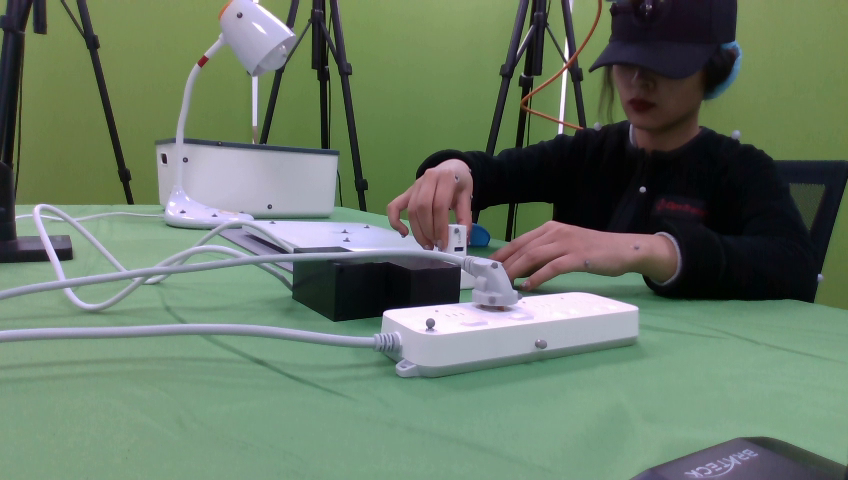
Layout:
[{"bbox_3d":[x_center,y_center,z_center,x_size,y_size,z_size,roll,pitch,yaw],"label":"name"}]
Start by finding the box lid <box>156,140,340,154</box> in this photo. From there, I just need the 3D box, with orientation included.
[{"bbox_3d":[-0.409,-0.213,1.404,0.373,0.015,0.262,-2,8,-32],"label":"box lid"}]

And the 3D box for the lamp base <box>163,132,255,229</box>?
[{"bbox_3d":[-0.420,-0.116,1.156,0.179,0.180,0.160,0,7,0],"label":"lamp base"}]

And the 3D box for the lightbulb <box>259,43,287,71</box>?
[{"bbox_3d":[-0.295,-0.357,1.102,0.059,0.107,0.059,-38,1,1],"label":"lightbulb"}]

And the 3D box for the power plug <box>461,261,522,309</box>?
[{"bbox_3d":[0.043,0.043,0.444,0.035,0.052,0.073,-5,8,43],"label":"power plug"}]

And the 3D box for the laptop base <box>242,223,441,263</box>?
[{"bbox_3d":[-0.126,0.003,0.945,0.237,0.023,0.352,2,6,-31],"label":"laptop base"}]

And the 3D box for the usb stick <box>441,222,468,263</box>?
[{"bbox_3d":[0.034,0.010,0.685,0.021,0.059,0.027,-1,9,-31],"label":"usb stick"}]

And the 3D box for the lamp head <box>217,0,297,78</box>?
[{"bbox_3d":[-0.315,-0.372,1.102,0.123,0.112,0.112,41,2,-9],"label":"lamp head"}]

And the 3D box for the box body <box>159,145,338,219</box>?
[{"bbox_3d":[-0.410,-0.139,1.414,0.366,0.160,0.253,-3,9,-33],"label":"box body"}]

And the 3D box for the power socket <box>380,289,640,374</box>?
[{"bbox_3d":[0.072,0.064,0.461,0.228,0.032,0.072,-3,7,-30],"label":"power socket"}]

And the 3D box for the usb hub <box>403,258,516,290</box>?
[{"bbox_3d":[0.042,0.038,0.690,0.126,0.025,0.049,-2,9,-30],"label":"usb hub"}]

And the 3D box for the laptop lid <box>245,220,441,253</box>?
[{"bbox_3d":[-0.124,-0.009,0.945,0.243,0.013,0.355,1,7,-29],"label":"laptop lid"}]

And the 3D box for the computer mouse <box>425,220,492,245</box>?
[{"bbox_3d":[0.060,-0.013,1.059,0.117,0.041,0.062,-3,10,-6],"label":"computer mouse"}]
